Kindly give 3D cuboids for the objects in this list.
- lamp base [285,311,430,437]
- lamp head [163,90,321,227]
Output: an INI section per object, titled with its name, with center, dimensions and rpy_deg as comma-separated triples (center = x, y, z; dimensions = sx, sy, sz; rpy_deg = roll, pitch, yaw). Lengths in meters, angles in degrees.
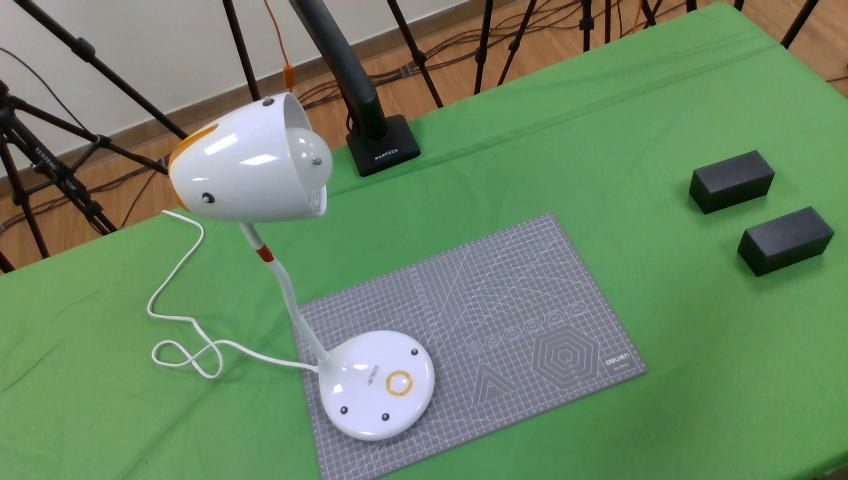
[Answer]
[lamp base]
center = -0.097, 0.150, 0.784
dimensions = 0.178, 0.182, 0.159
rpy_deg = 0, 55, 17
[lamp head]
center = -0.162, -0.062, 0.541
dimensions = 0.123, 0.113, 0.111
rpy_deg = -17, 53, 7
